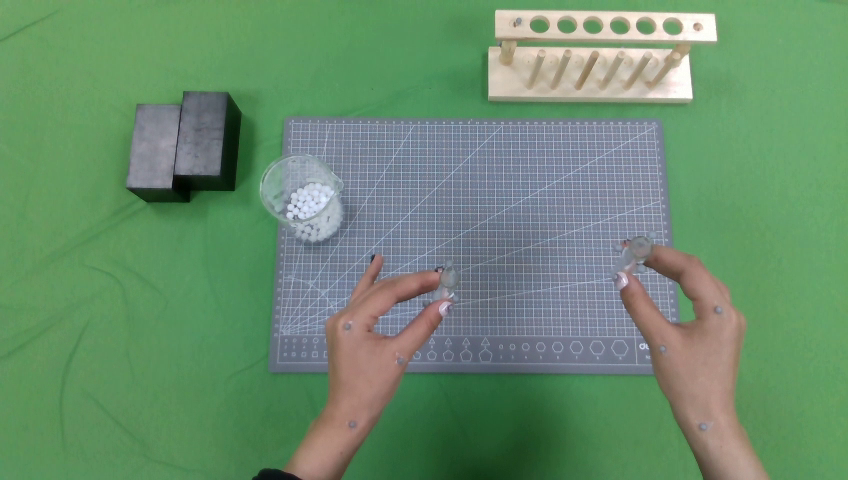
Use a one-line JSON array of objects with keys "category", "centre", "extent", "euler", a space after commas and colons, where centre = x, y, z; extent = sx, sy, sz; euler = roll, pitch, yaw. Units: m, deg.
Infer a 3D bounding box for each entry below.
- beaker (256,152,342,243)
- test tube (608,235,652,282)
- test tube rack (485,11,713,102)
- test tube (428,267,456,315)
[{"category": "beaker", "centre": [-0.126, -0.041, 0.650], "extent": [0.084, 0.100, 0.073], "euler": [-7, 77, -2]}, {"category": "test tube", "centre": [0.157, 0.017, 0.471], "extent": [0.017, 0.151, 0.017], "euler": [-2, 79, 11]}, {"category": "test tube rack", "centre": [0.195, -0.210, 0.701], "extent": [0.242, 0.085, 0.066], "euler": [1, 76, 0]}, {"category": "test tube", "centre": [0.014, 0.046, 0.516], "extent": [0.017, 0.151, 0.017], "euler": [1, 75, -2]}]
